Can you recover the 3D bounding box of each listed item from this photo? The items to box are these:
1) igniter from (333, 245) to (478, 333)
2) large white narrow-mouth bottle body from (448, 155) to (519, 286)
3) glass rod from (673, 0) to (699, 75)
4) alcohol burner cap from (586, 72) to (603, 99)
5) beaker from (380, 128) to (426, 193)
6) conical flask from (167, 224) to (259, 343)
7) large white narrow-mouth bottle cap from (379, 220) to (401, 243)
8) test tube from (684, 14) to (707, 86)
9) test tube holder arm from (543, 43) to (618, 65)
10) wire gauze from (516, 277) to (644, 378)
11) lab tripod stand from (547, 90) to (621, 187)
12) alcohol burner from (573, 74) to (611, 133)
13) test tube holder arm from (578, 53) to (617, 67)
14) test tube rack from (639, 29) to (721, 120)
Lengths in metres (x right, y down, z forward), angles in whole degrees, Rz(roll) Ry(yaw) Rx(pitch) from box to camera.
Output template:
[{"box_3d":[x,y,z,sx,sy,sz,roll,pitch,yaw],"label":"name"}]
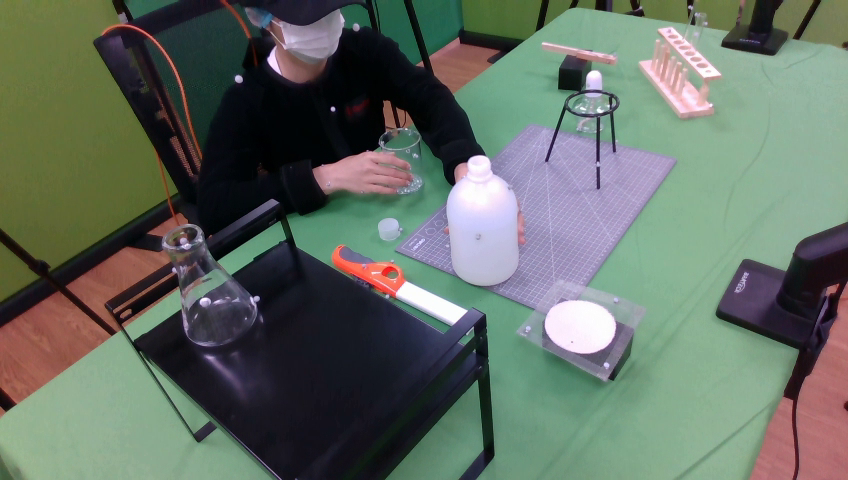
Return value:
[{"box_3d":[-0.039,0.068,0.905,0.274,0.025,0.057,24,60,32],"label":"igniter"},{"box_3d":[0.086,-0.033,0.869,0.102,0.195,0.101,-4,39,4],"label":"large white narrow-mouth bottle body"},{"box_3d":[0.541,-0.427,1.246,0.008,0.200,0.008,0,48,1],"label":"glass rod"},{"box_3d":[0.325,-0.297,1.154,0.034,0.048,0.033,-8,35,6],"label":"alcohol burner cap"},{"box_3d":[-0.034,-0.143,1.097,0.073,0.101,0.084,14,44,24],"label":"beaker"},{"box_3d":[-0.220,0.041,0.613,0.075,0.122,0.075,-5,40,4],"label":"conical flask"},{"box_3d":[-0.057,-0.015,1.012,0.038,0.024,0.037,-4,40,4],"label":"large white narrow-mouth bottle cap"},{"box_3d":[0.541,-0.379,1.216,0.017,0.151,0.017,-2,44,2],"label":"test tube"},{"box_3d":[0.345,-0.413,1.341,0.177,0.015,0.013,25,50,31],"label":"test tube holder arm"},{"box_3d":[0.197,0.103,0.765,0.124,0.011,0.122,23,50,31],"label":"wire gauze"},{"box_3d":[0.289,-0.184,1.062,0.148,0.132,0.147,-6,41,6],"label":"lab tripod stand"},{"box_3d":[0.330,-0.270,1.176,0.078,0.119,0.077,-4,43,4],"label":"alcohol burner"},{"box_3d":[0.376,-0.393,1.314,0.087,0.015,0.010,26,51,32],"label":"test tube holder arm"},{"box_3d":[0.527,-0.351,1.262,0.067,0.085,0.241,-8,40,1],"label":"test tube rack"}]
